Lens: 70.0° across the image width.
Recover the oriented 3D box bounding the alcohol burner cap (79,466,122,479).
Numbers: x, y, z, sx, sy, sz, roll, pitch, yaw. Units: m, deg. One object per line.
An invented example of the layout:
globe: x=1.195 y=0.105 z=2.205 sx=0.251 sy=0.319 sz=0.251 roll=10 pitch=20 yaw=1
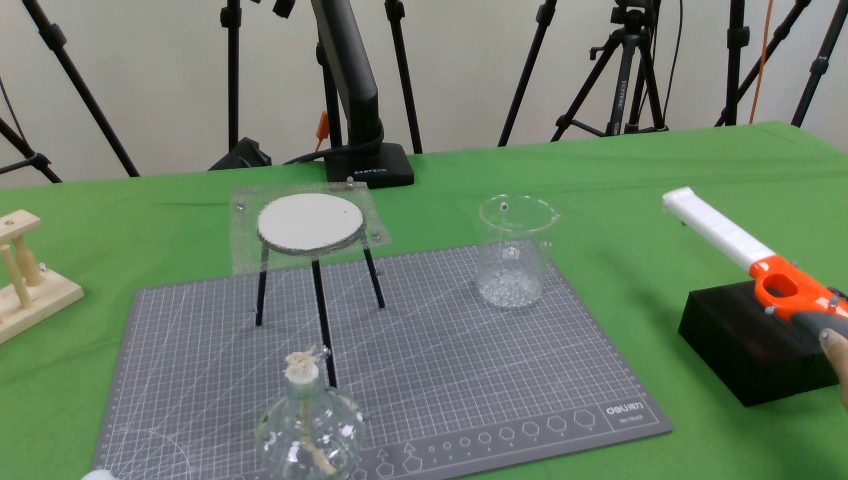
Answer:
alcohol burner cap: x=-0.219 y=0.174 z=0.412 sx=0.034 sy=0.048 sz=0.033 roll=2 pitch=33 yaw=-1

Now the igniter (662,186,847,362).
igniter: x=0.297 y=0.027 z=0.521 sx=0.057 sy=0.025 sz=0.273 roll=-17 pitch=36 yaw=-8

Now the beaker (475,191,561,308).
beaker: x=0.091 y=0.011 z=0.612 sx=0.084 sy=0.101 sz=0.073 roll=-3 pitch=34 yaw=-6

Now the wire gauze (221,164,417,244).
wire gauze: x=-0.087 y=-0.031 z=0.490 sx=0.125 sy=0.011 sz=0.120 roll=-14 pitch=32 yaw=-33

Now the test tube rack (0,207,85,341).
test tube rack: x=-0.444 y=0.066 z=0.536 sx=0.066 sy=0.086 sz=0.242 roll=20 pitch=38 yaw=26

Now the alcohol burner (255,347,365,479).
alcohol burner: x=-0.081 y=0.121 z=0.429 sx=0.078 sy=0.120 sz=0.077 roll=2 pitch=33 yaw=-1

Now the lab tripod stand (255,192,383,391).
lab tripod stand: x=-0.092 y=0.037 z=0.538 sx=0.148 sy=0.132 sz=0.147 roll=2 pitch=34 yaw=-1
